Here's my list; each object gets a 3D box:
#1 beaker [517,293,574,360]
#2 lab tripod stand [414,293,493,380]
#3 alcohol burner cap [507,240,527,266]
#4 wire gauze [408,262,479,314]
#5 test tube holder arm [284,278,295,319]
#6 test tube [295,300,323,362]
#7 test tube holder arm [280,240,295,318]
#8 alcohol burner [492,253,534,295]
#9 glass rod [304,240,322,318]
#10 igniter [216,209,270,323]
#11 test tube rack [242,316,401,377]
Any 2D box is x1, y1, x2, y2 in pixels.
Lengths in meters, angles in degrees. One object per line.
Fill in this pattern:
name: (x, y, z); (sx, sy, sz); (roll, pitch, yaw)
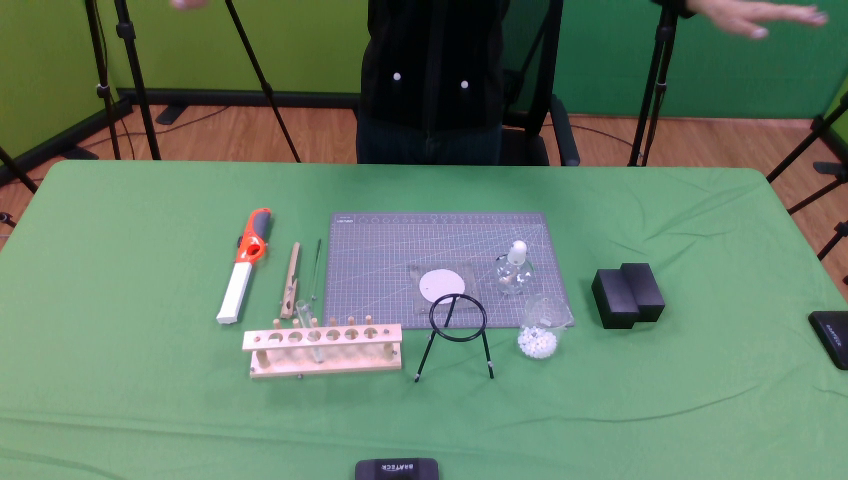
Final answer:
beaker: (0.200, 0.149, 1.018); (0.084, 0.101, 0.073); (14, 47, 8)
lab tripod stand: (0.052, 0.159, 0.972); (0.148, 0.132, 0.147); (4, 46, -4)
alcohol burner cap: (0.167, 0.021, 1.075); (0.034, 0.048, 0.033); (1, 55, -1)
wire gauze: (0.036, 0.085, 1.127); (0.121, 0.011, 0.124); (-3, 43, -6)
test tube holder arm: (-0.242, 0.103, 1.085); (0.010, 0.015, 0.087); (28, 37, -30)
test tube: (-0.176, 0.143, 0.934); (0.017, 0.151, 0.017); (-2, 46, 2)
test tube holder arm: (-0.250, 0.068, 1.113); (0.013, 0.015, 0.177); (27, 38, -32)
alcohol burner: (0.165, 0.045, 1.103); (0.078, 0.119, 0.077); (3, 47, -3)
glass rod: (-0.206, 0.068, 1.128); (0.008, 0.008, 0.198); (2, 43, -2)
igniter: (-0.335, 0.039, 1.132); (0.057, 0.025, 0.275); (-3, 46, 6)
test tube rack: (-0.161, 0.166, 0.983); (0.242, 0.085, 0.066); (-2, 46, -6)
